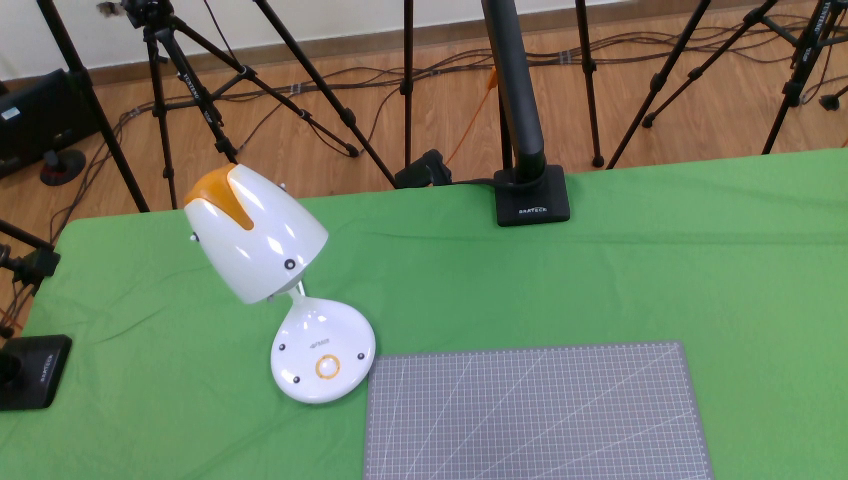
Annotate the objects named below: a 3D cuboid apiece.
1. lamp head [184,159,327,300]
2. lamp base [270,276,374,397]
[{"bbox_3d":[-0.176,-0.020,0.604,0.112,0.123,0.111,-35,17,13],"label":"lamp head"},{"bbox_3d":[-0.172,0.110,0.857,0.160,0.182,0.177,-30,55,-10],"label":"lamp base"}]
